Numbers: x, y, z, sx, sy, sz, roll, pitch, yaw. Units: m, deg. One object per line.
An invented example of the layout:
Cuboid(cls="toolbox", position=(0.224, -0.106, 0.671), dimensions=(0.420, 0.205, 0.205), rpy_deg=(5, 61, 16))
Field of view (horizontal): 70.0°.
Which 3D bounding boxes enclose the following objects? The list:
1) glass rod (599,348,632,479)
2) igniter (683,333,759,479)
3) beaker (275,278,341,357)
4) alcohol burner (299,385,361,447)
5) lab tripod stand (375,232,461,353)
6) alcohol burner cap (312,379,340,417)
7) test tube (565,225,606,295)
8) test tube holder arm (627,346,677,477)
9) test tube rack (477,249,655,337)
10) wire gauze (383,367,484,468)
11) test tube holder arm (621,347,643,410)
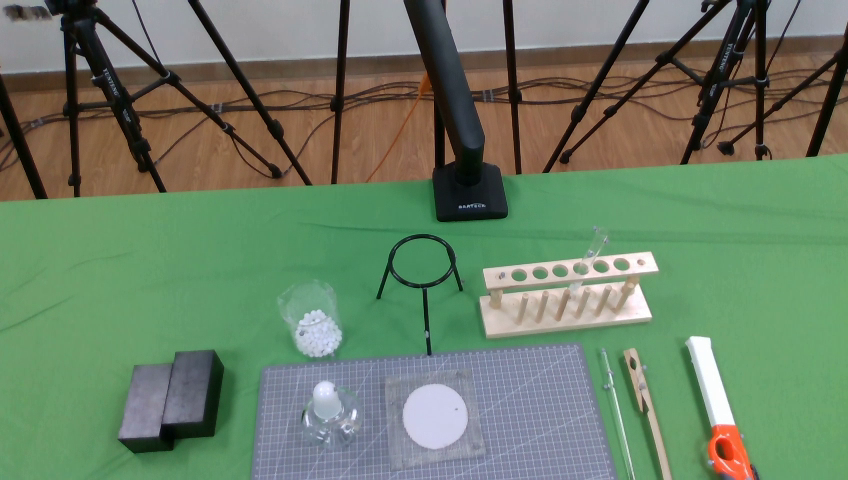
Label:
Cuboid(cls="glass rod", position=(0.252, 0.234, 0.795), dimensions=(0.008, 0.008, 0.197), rpy_deg=(-1, 56, -1))
Cuboid(cls="igniter", position=(0.382, 0.244, 0.774), dimensions=(0.057, 0.025, 0.274), rpy_deg=(6, 52, -7))
Cuboid(cls="beaker", position=(-0.156, 0.110, 0.833), dimensions=(0.084, 0.101, 0.073), rpy_deg=(10, 53, 9))
Cuboid(cls="alcohol burner", position=(-0.118, 0.208, 0.745), dimensions=(0.078, 0.120, 0.077), rpy_deg=(-1, 51, 1))
Cuboid(cls="lab tripod stand", position=(-0.008, 0.064, 0.845), dimensions=(0.148, 0.133, 0.147), rpy_deg=(-1, 52, 2))
Cuboid(cls="alcohol burner cap", position=(-0.118, 0.184, 0.717), dimensions=(0.034, 0.048, 0.033), rpy_deg=(1, 43, -1))
Cuboid(cls="test tube", position=(0.220, 0.032, 0.838), dimensions=(0.017, 0.151, 0.017), rpy_deg=(4, 51, -4))
Cuboid(cls="test tube holder arm", position=(0.296, 0.220, 0.795), dimensions=(0.013, 0.015, 0.176), rpy_deg=(-30, 47, 25))
Cuboid(cls="test tube rack", position=(0.203, 0.076, 0.867), dimensions=(0.242, 0.086, 0.066), rpy_deg=(-6, 53, -4))
Cuboid(cls="wire gauze", position=(0.009, 0.228, 0.796), dimensions=(0.121, 0.011, 0.124), rpy_deg=(-6, 56, -5))
Cuboid(cls="test tube holder arm", position=(0.287, 0.188, 0.825), dimensions=(0.010, 0.015, 0.087), rpy_deg=(-28, 47, 26))
